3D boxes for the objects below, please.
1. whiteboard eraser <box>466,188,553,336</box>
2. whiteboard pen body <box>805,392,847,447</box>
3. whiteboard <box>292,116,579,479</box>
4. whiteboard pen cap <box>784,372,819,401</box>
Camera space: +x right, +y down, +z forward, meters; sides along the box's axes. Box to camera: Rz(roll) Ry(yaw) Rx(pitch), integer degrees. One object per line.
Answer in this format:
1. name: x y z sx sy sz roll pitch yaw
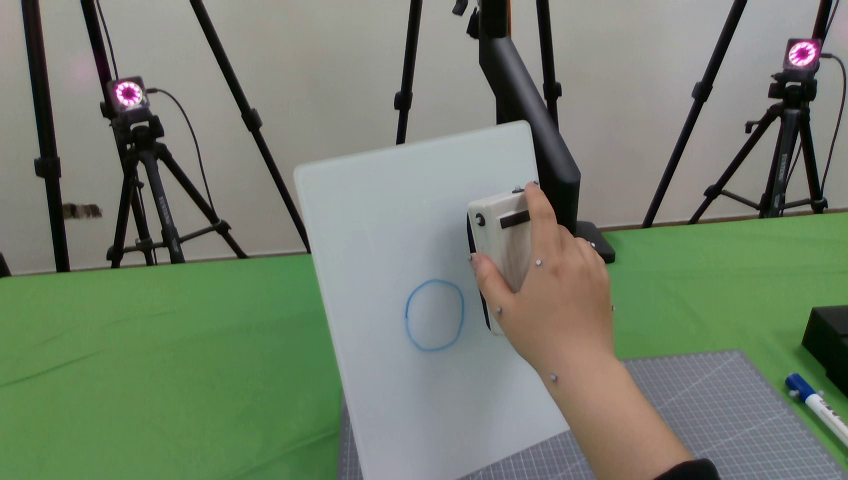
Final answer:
1. whiteboard eraser: 0.068 0.017 0.492 0.056 0.113 0.041 -16 12 -27
2. whiteboard pen body: 0.394 0.179 0.568 0.017 0.017 0.139 -5 28 -4
3. whiteboard: 0.000 0.057 0.583 0.218 0.306 0.143 -15 12 -21
4. whiteboard pen cap: 0.386 0.151 0.618 0.018 0.018 0.033 -6 27 -6
